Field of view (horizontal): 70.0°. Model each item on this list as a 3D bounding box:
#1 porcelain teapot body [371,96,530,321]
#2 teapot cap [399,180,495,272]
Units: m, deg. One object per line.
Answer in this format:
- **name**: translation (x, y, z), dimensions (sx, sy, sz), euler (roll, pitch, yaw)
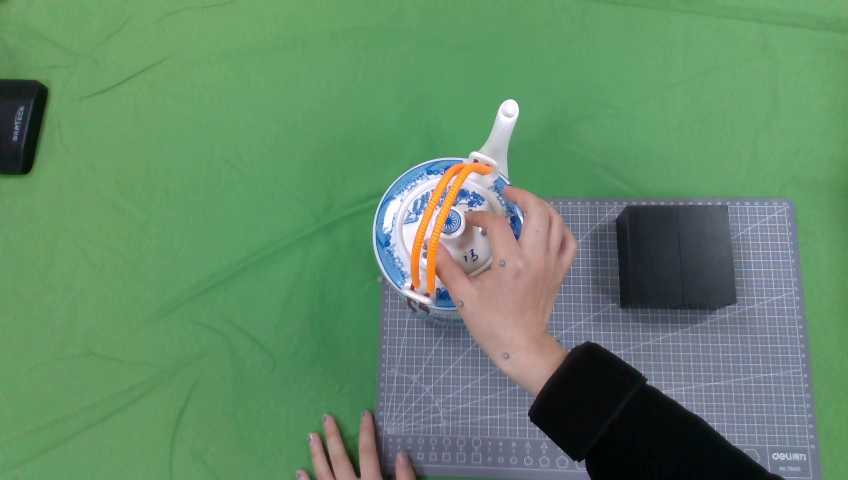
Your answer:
- **porcelain teapot body**: translation (0.036, -0.031, 0.570), dimensions (0.145, 0.226, 0.205), euler (22, 80, 9)
- **teapot cap**: translation (0.020, -0.014, 0.527), dimensions (0.085, 0.044, 0.084), euler (-1, 74, 5)
